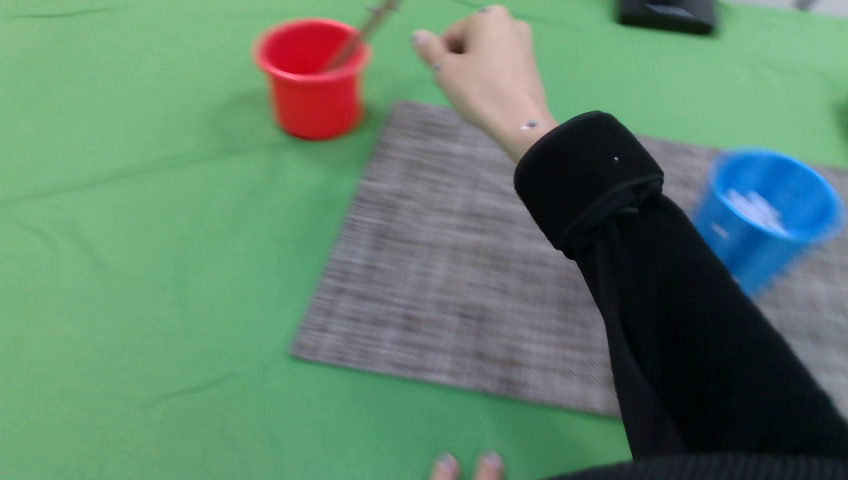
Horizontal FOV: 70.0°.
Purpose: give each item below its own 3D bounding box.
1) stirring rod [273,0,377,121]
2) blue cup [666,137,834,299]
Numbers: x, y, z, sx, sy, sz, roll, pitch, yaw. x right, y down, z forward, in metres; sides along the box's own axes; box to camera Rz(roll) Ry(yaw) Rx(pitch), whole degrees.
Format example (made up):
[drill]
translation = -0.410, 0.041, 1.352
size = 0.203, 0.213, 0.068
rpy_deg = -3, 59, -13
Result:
[stirring rod]
translation = -0.080, -0.176, 0.541
size = 0.176, 0.006, 0.014
rpy_deg = -47, 53, 13
[blue cup]
translation = 0.224, -0.009, 0.440
size = 0.093, 0.101, 0.091
rpy_deg = 3, 51, -3
